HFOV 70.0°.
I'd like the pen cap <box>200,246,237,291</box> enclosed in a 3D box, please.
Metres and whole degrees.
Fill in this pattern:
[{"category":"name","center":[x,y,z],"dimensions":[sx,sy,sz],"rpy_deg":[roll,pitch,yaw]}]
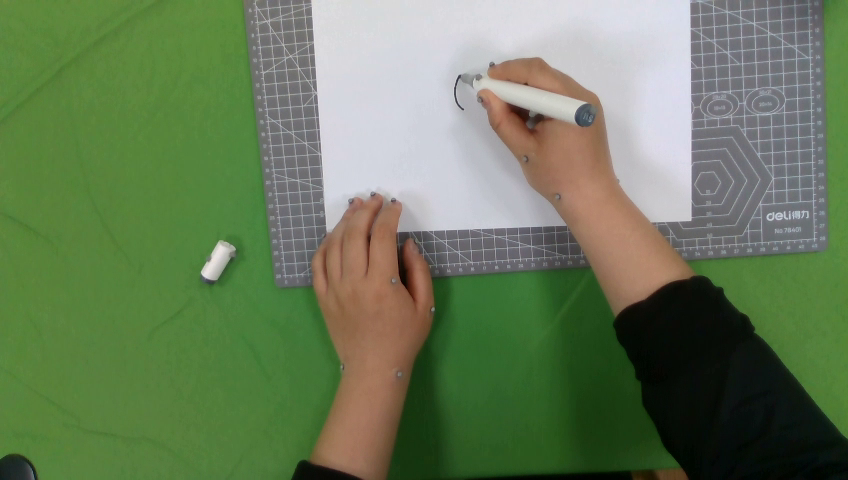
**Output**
[{"category":"pen cap","center":[-0.176,0.025,0.516],"dimensions":[0.017,0.017,0.038],"rpy_deg":[34,97,2]}]

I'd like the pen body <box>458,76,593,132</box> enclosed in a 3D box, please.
[{"category":"pen body","center":[0.066,-0.102,0.436],"dimensions":[0.017,0.142,0.017],"rpy_deg":[-16,122,-28]}]
